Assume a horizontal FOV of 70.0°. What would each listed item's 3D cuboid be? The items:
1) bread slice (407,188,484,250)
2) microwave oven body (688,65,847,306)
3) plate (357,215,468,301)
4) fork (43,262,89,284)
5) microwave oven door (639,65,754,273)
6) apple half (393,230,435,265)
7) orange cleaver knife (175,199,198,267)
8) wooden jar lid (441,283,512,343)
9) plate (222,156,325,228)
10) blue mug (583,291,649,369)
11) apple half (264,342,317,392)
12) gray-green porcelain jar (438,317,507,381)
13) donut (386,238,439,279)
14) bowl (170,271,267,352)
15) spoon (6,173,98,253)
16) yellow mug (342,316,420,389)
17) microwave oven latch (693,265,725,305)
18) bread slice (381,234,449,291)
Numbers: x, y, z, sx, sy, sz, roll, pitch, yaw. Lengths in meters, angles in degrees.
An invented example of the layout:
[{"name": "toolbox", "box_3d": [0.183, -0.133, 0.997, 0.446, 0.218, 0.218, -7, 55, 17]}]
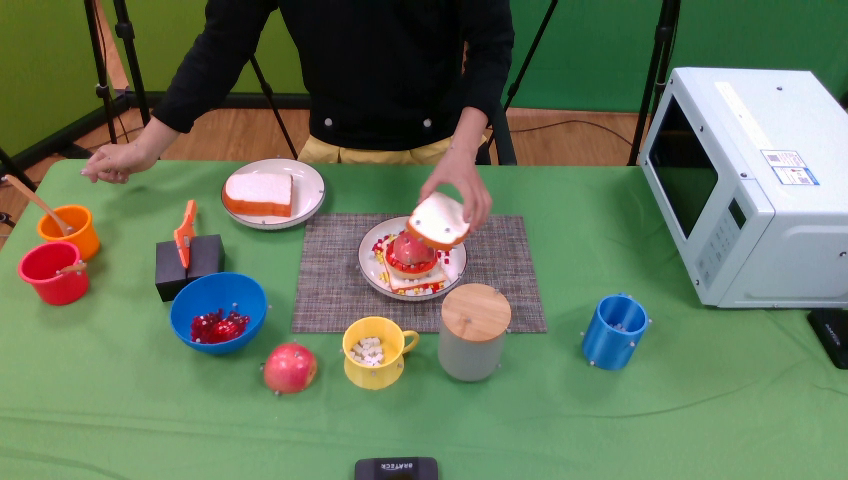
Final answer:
[{"name": "bread slice", "box_3d": [0.035, -0.035, 1.044, 0.104, 0.019, 0.131, 29, 43, 11]}, {"name": "microwave oven body", "box_3d": [0.669, -0.111, 1.176, 0.326, 0.261, 0.439, 0, 46, -3]}, {"name": "plate", "box_3d": [-0.022, 0.037, 1.141, 0.208, 0.039, 0.206, 2, 46, -2]}, {"name": "fork", "box_3d": [-0.599, 0.053, 1.013, 0.207, 0.019, 0.028, -14, 30, 45]}, {"name": "microwave oven door", "box_3d": [0.522, -0.147, 1.193, 0.039, 0.245, 0.353, 0, 47, -3]}, {"name": "apple half", "box_3d": [-0.018, 0.005, 1.083, 0.081, 0.033, 0.081, 6, 49, -6]}, {"name": "orange cleaver knife", "box_3d": [-0.438, -0.017, 1.138, 0.012, 0.077, 0.210, -14, 27, -7]}, {"name": "wooden jar lid", "box_3d": [0.080, 0.114, 0.931, 0.108, 0.021, 0.107, 1, 49, -1]}, {"name": "plate", "box_3d": [-0.308, -0.095, 1.251, 0.209, 0.038, 0.208, 2, 46, -2]}, {"name": "blue mug", "box_3d": [0.324, 0.142, 1.023, 0.082, 0.106, 0.116, 15, 47, 11]}, {"name": "apple half", "box_3d": [-0.214, 0.198, 0.970, 0.074, 0.053, 0.080, 19, 48, 10]}, {"name": "gray-green porcelain jar", "box_3d": [0.076, 0.158, 0.977, 0.106, 0.127, 0.105, 2, 46, -2]}, {"name": "donut", "box_3d": [-0.021, 0.029, 1.110, 0.099, 0.048, 0.098, 2, 46, -2]}, {"name": "bowl", "box_3d": [-0.333, 0.132, 1.006, 0.151, 0.077, 0.150, 2, 46, -2]}, {"name": "spoon", "box_3d": [-0.678, -0.050, 1.106, 0.021, 0.194, 0.041, -19, 27, 43]}, {"name": "yellow mug", "box_3d": [-0.067, 0.177, 0.990, 0.131, 0.064, 0.099, -16, 50, -19]}, {"name": "microwave oven latch", "box_3d": [0.523, 0.081, 1.115, 0.030, 0.029, 0.078, 2, 46, -1]}, {"name": "bread slice", "box_3d": [-0.027, 0.038, 1.139, 0.107, 0.018, 0.133, -12, 47, -15]}]
